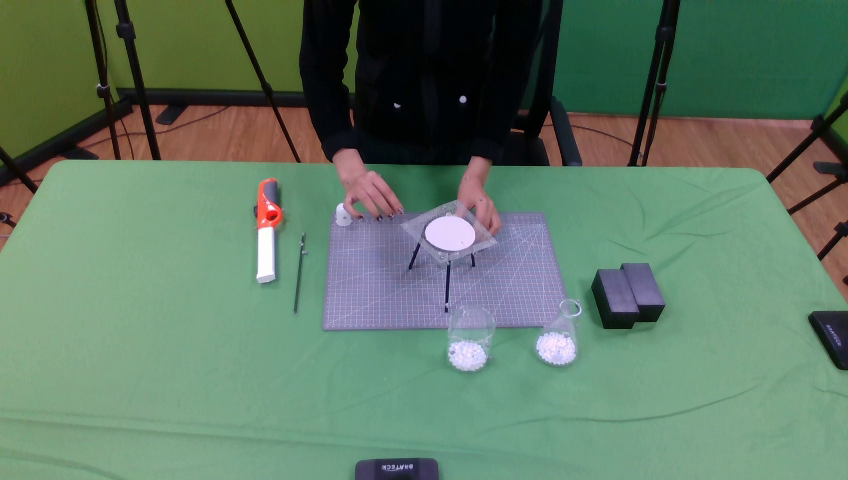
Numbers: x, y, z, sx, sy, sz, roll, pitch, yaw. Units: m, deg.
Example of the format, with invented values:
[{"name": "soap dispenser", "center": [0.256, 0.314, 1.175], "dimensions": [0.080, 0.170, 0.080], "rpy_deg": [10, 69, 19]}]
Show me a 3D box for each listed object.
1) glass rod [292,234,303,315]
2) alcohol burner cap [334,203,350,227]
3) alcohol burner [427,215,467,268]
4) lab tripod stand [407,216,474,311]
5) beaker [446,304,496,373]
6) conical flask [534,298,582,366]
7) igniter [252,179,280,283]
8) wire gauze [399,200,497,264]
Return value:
[{"name": "glass rod", "center": [-0.236, 0.060, 1.134], "dimensions": [0.008, 0.008, 0.198], "rpy_deg": [-1, 46, -5]}, {"name": "alcohol burner cap", "center": [-0.166, -0.053, 1.220], "dimensions": [0.034, 0.048, 0.033], "rpy_deg": [2, 46, -2]}, {"name": "alcohol burner", "center": [0.045, -0.002, 1.139], "dimensions": [0.078, 0.120, 0.077], "rpy_deg": [1, 48, -1]}, {"name": "lab tripod stand", "center": [0.039, 0.030, 1.092], "dimensions": [0.148, 0.132, 0.147], "rpy_deg": [3, 44, -2]}, {"name": "beaker", "center": [0.072, 0.166, 0.992], "dimensions": [0.084, 0.101, 0.073], "rpy_deg": [-21, 51, -22]}, {"name": "conical flask", "center": [0.229, 0.149, 1.005], "dimensions": [0.075, 0.122, 0.075], "rpy_deg": [2, 46, -2]}, {"name": "igniter", "center": [-0.312, -0.027, 1.197], "dimensions": [0.057, 0.025, 0.274], "rpy_deg": [-12, 47, -2]}, {"name": "wire gauze", "center": [0.042, -0.014, 1.041], "dimensions": [0.125, 0.011, 0.120], "rpy_deg": [-22, 50, -25]}]
